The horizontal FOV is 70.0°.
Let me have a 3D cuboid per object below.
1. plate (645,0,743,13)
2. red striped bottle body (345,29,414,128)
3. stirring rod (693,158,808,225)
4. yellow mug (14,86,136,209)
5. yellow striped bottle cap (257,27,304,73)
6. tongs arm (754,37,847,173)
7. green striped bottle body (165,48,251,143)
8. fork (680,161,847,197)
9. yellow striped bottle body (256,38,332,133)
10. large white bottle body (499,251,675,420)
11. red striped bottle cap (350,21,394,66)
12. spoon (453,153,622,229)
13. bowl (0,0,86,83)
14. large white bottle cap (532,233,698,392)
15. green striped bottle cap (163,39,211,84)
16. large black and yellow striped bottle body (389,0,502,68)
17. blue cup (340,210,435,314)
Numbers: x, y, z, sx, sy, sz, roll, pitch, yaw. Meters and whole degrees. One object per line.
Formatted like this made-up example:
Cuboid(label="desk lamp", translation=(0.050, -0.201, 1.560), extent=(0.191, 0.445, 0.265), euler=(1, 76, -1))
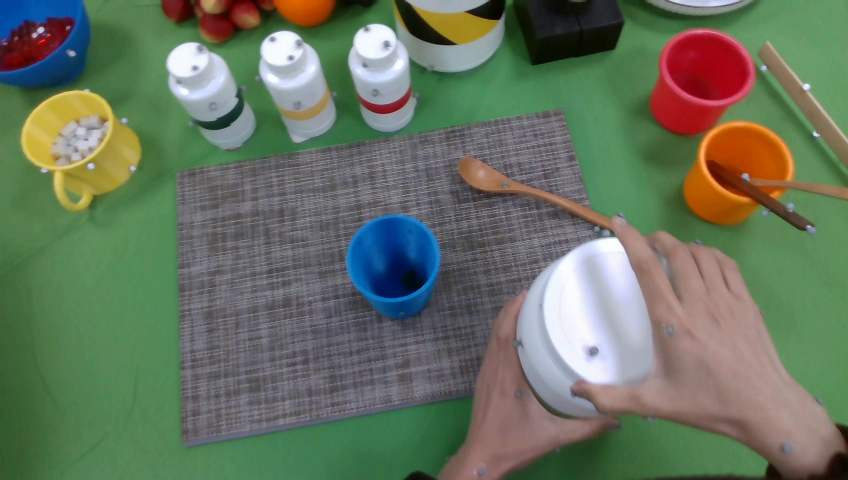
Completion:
Cuboid(label="plate", translation=(0.328, -0.365, 0.758), extent=(0.209, 0.038, 0.207), euler=(-1, 70, 2))
Cuboid(label="red striped bottle body", translation=(-0.048, -0.179, 0.659), extent=(0.063, 0.120, 0.062), euler=(-2, 68, 6))
Cuboid(label="stirring rod", translation=(0.311, -0.051, 0.589), extent=(0.014, 0.006, 0.174), euler=(-8, 26, -3))
Cuboid(label="yellow mug", translation=(-0.386, -0.097, 0.670), extent=(0.100, 0.064, 0.130), euler=(0, 70, 1))
Cuboid(label="yellow striped bottle cap", translation=(-0.145, -0.193, 0.612), extent=(0.044, 0.019, 0.044), euler=(0, 71, 1))
Cuboid(label="tongs arm", translation=(0.482, -0.072, 0.643), extent=(0.051, 0.027, 0.382), euler=(-21, 71, -8))
Cuboid(label="green striped bottle body", translation=(-0.236, -0.161, 0.660), extent=(0.063, 0.120, 0.062), euler=(-1, 69, 2))
Cuboid(label="fork", translation=(0.341, -0.055, 0.582), extent=(0.028, 0.019, 0.205), euler=(-48, 31, -13))
Cuboid(label="yellow striped bottle body", translation=(-0.142, -0.174, 0.660), extent=(0.063, 0.121, 0.062), euler=(-1, 69, 3))
Cuboid(label="large white bottle body", translation=(0.137, 0.079, 0.512), extent=(0.130, 0.186, 0.129), euler=(0, 69, 0))
Cuboid(label="red striped bottle cap", translation=(-0.053, -0.199, 0.610), extent=(0.044, 0.018, 0.044), euler=(1, 67, -1))
Cuboid(label="spoon", translation=(0.122, -0.051, 0.653), extent=(0.193, 0.022, 0.041), euler=(21, 47, 9))
Cuboid(label="bowl", translation=(-0.467, -0.242, 0.721), extent=(0.151, 0.077, 0.150), euler=(0, 70, 1))
Cuboid(label="large white bottle cap", translation=(0.136, 0.049, 0.433), extent=(0.115, 0.018, 0.114), euler=(0, 69, 0))
Cuboid(label="green striped bottle cap", translation=(-0.239, -0.180, 0.611), extent=(0.044, 0.020, 0.044), euler=(0, 68, 1))
Cuboid(label="large black and yellow striped bottle body", translation=(0.023, -0.295, 0.665), extent=(0.131, 0.185, 0.130), euler=(-1, 69, 2))
Cuboid(label="blue cup", translation=(-0.032, 0.030, 0.586), extent=(0.092, 0.101, 0.092), euler=(0, 68, 1))
